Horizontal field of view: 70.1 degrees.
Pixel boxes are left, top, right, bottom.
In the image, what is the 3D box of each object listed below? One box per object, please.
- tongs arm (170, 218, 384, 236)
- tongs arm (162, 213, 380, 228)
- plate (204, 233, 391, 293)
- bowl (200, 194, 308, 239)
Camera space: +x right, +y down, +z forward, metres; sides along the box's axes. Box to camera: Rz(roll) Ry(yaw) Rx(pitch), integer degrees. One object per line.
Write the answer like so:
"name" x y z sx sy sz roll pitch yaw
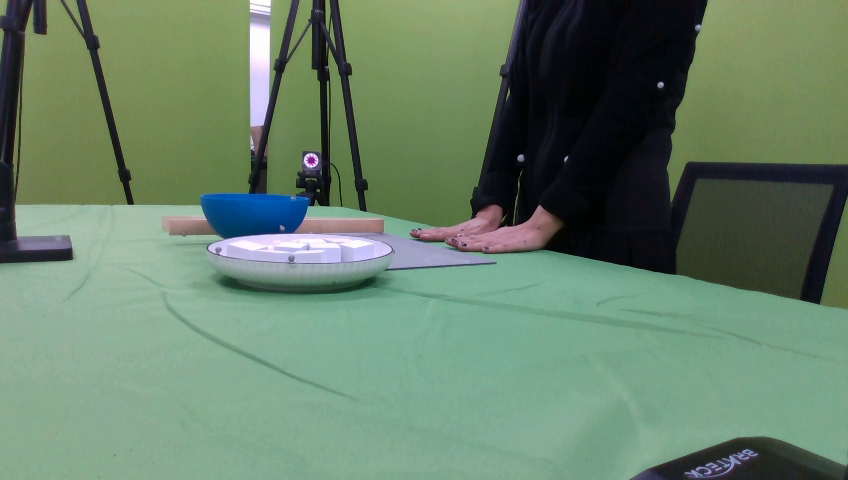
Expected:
"tongs arm" -0.233 -0.024 1.039 0.387 0.026 0.050 -2 5 -32
"tongs arm" -0.271 -0.033 1.113 0.389 0.027 0.028 0 1 -18
"plate" -0.143 0.025 0.697 0.208 0.039 0.207 3 9 0
"bowl" -0.245 -0.025 0.879 0.151 0.077 0.151 2 7 0
